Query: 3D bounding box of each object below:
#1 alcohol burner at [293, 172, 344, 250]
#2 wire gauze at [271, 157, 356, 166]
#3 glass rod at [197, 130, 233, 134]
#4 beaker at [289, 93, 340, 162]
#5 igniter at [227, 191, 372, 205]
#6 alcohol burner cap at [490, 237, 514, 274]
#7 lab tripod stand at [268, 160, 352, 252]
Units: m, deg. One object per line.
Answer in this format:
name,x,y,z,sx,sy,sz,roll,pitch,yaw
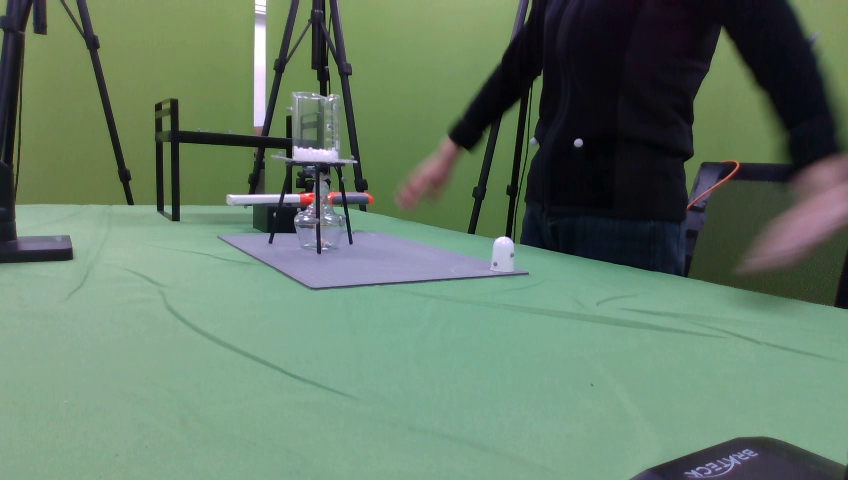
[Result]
alcohol burner,-0.159,-0.045,0.921,0.078,0.119,0.078,5,7,0
wire gauze,-0.167,-0.120,0.917,0.125,0.011,0.121,-2,6,-8
glass rod,-0.450,-0.232,1.294,0.008,0.008,0.198,-4,10,-40
beaker,-0.162,-0.167,0.908,0.074,0.100,0.083,-4,10,-31
igniter,-0.232,-0.080,1.161,0.278,0.025,0.057,-3,12,-29
alcohol burner cap,0.104,0.020,0.793,0.034,0.048,0.034,2,6,0
lab tripod stand,-0.171,-0.055,0.921,0.148,0.131,0.148,1,9,0
